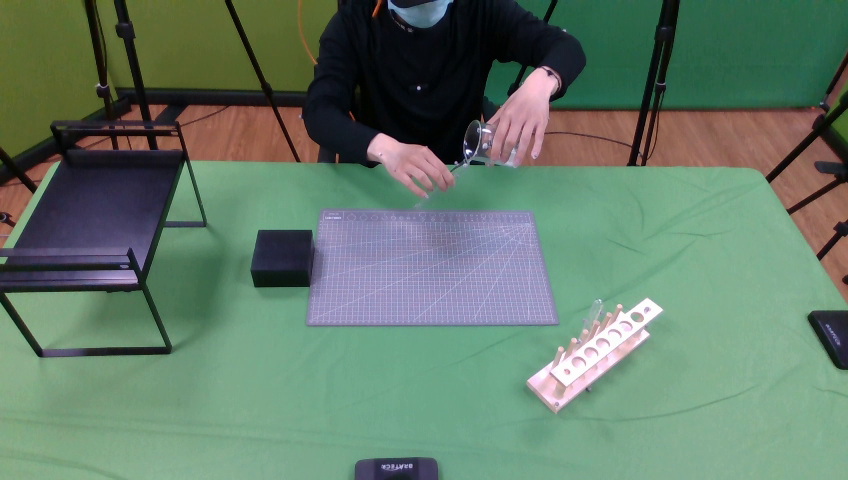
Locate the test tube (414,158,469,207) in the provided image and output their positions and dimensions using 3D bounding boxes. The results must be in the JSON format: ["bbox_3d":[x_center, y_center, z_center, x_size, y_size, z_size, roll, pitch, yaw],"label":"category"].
[{"bbox_3d":[0.032,-0.109,1.170,0.017,0.150,0.017,30,39,-28],"label":"test tube"}]

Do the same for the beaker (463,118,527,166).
[{"bbox_3d":[0.132,-0.176,1.124,0.100,0.084,0.073,7,28,-19],"label":"beaker"}]

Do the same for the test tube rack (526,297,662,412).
[{"bbox_3d":[0.284,0.176,1.007,0.242,0.085,0.066,-29,54,-27],"label":"test tube rack"}]

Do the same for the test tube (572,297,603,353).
[{"bbox_3d":[0.263,0.141,0.977,0.017,0.151,0.017,2,47,-2],"label":"test tube"}]
